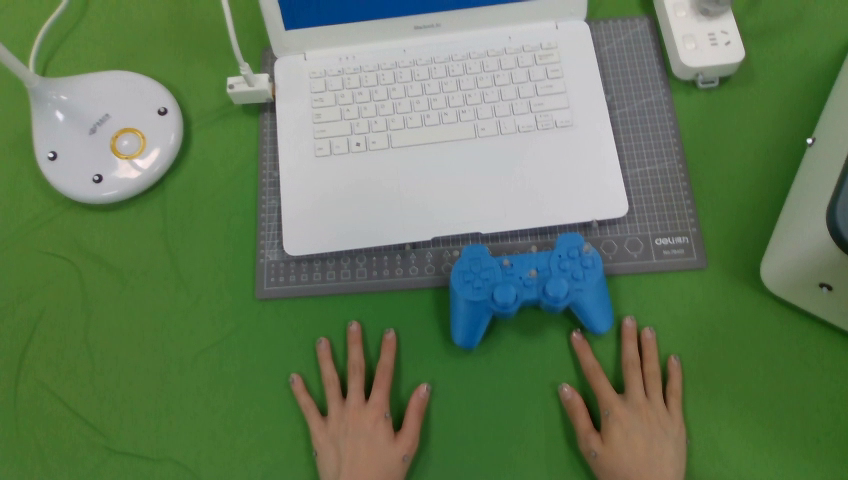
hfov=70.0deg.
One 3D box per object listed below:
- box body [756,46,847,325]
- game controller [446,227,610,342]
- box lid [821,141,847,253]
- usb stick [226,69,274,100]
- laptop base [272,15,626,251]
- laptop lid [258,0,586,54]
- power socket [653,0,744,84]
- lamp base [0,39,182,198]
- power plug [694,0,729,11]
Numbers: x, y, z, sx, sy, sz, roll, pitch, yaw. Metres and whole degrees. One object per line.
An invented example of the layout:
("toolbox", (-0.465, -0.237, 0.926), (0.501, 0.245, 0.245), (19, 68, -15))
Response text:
("box body", (0.494, -0.075, 0.535), (0.253, 0.161, 0.363), (28, 76, 11))
("game controller", (0.096, 0.040, 0.577), (0.155, 0.052, 0.096), (-6, 69, 0))
("box lid", (0.491, -0.100, 0.465), (0.262, 0.015, 0.370), (28, 76, 11))
("usb stick", (-0.183, -0.170, 0.661), (0.059, 0.027, 0.021), (-3, 66, -1))
("laptop base", (0.018, -0.118, 0.647), (0.354, 0.023, 0.234), (-7, 75, 0))
("laptop lid", (-0.007, -0.316, 0.607), (0.357, 0.244, 0.013), (-8, 41, 1))
("power socket", (0.295, -0.281, 0.679), (0.072, 0.033, 0.225), (-6, 72, 0))
("lamp base", (-0.361, -0.150, 0.592), (0.178, 0.181, 0.160), (22, 74, 13))
("power plug", (0.327, -0.261, 0.648), (0.072, 0.053, 0.035), (5, 71, 3))
